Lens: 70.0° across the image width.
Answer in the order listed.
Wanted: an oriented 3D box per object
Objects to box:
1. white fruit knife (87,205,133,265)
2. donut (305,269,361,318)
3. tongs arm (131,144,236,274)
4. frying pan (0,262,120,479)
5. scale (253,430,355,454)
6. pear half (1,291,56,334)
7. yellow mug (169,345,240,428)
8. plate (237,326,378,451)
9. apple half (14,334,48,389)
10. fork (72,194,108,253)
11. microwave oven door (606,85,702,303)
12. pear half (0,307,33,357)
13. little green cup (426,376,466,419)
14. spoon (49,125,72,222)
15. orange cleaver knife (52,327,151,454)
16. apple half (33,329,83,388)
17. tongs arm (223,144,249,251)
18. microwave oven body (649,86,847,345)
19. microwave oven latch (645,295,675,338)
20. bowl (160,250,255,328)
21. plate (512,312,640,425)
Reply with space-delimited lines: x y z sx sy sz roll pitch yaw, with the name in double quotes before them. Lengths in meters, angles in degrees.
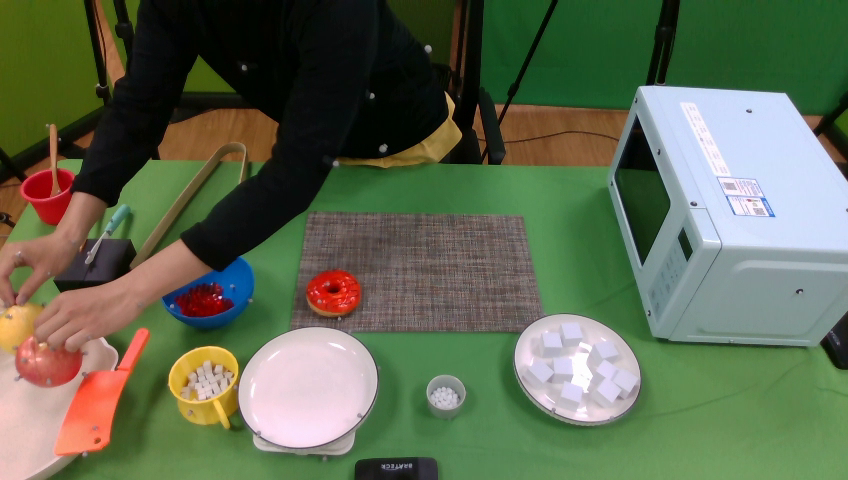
"white fruit knife" -0.584 -0.013 1.129 0.016 0.027 0.206 0 31 -5
"donut" -0.160 0.094 1.075 0.099 0.048 0.098 4 45 -3
"tongs arm" -0.484 -0.077 1.236 0.028 0.028 0.385 6 45 13
"frying pan" -0.647 0.164 0.936 0.307 0.103 0.485 -19 58 -22
"scale" -0.175 0.236 0.951 0.149 0.032 0.199 4 46 0
"pear half" -0.592 0.115 0.912 0.076 0.110 0.056 20 34 8
"yellow mug" -0.322 0.230 0.922 0.100 0.064 0.130 -24 53 -25
"plate" -0.174 0.224 0.917 0.209 0.038 0.208 2 46 -2
"apple half" -0.549 0.175 0.843 0.033 0.081 0.081 -13 48 -26
"fork" -0.634 -0.035 1.158 0.028 0.019 0.206 -7 32 -9
"microwave oven door" 0.422 -0.094 1.140 0.039 0.245 0.353 2 46 -1
"pear half" -0.606 0.141 0.890 0.070 0.088 0.031 19 32 6
"little green cup" 0.033 0.248 0.950 0.061 0.039 0.061 2 46 -2
"spoon" -0.718 -0.131 1.189 0.041 0.021 0.193 -3 91 -6
"orange cleaver knife" -0.462 0.212 0.879 0.077 0.012 0.210 7 46 -2
"apple half" -0.515 0.165 0.860 0.053 0.075 0.080 -15 38 -25
"tongs arm" -0.397 -0.072 1.233 0.051 0.026 0.382 -2 45 0
"microwave oven body" 0.567 -0.053 1.118 0.326 0.261 0.439 2 45 -1
"microwave oven latch" 0.411 0.134 1.061 0.030 0.029 0.078 3 45 0
"bowl" -0.362 0.098 1.040 0.151 0.077 0.150 2 45 -2
"plate" 0.246 0.213 0.999 0.208 0.039 0.206 2 46 -2
